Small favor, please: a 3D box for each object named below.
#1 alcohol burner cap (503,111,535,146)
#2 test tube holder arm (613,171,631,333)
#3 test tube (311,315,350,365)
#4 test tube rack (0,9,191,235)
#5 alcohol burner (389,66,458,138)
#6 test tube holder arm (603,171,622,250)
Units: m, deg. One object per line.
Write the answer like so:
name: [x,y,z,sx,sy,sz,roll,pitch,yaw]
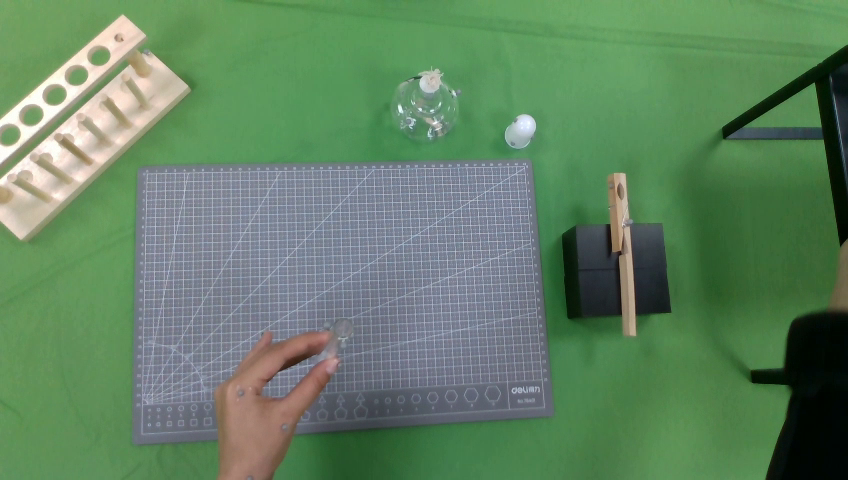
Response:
alcohol burner cap: [0.113,-0.133,0.712,0.034,0.048,0.033,1,79,-6]
test tube holder arm: [0.215,0.012,0.661,0.013,0.015,0.177,1,81,-18]
test tube: [-0.081,0.088,0.513,0.017,0.150,0.017,6,68,-14]
test tube rack: [-0.369,-0.120,0.635,0.066,0.085,0.242,42,79,3]
alcohol burner: [0.002,-0.158,0.668,0.078,0.119,0.077,1,79,-7]
test tube holder arm: [0.208,-0.033,0.666,0.010,0.015,0.087,1,81,-18]
